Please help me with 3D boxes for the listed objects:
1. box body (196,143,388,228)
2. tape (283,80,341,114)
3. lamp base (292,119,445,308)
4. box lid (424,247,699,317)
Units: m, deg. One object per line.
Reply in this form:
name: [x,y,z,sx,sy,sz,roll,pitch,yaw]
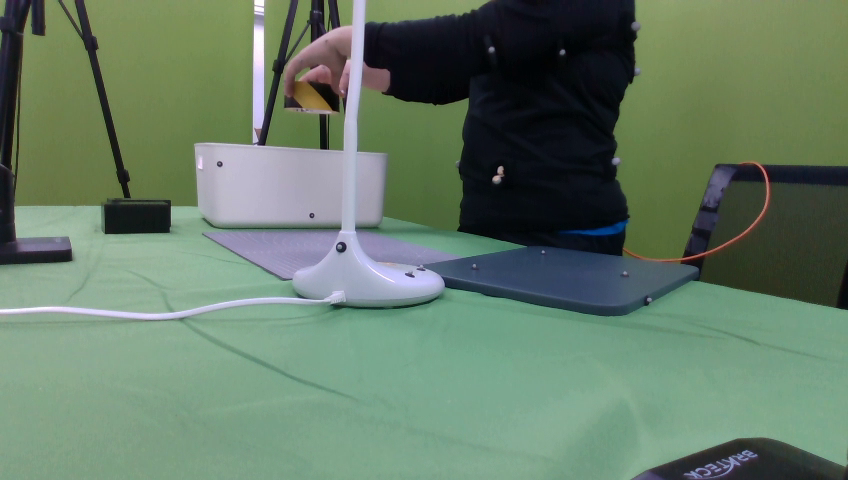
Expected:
box body: [-0.286,-0.118,1.291,0.366,0.160,0.253,-1,8,-27]
tape: [-0.224,-0.285,1.210,0.117,0.052,0.117,3,6,0]
lamp base: [-0.056,-0.030,0.616,0.160,0.180,0.179,4,10,8]
box lid: [0.184,0.044,0.789,0.262,0.015,0.373,8,9,35]
